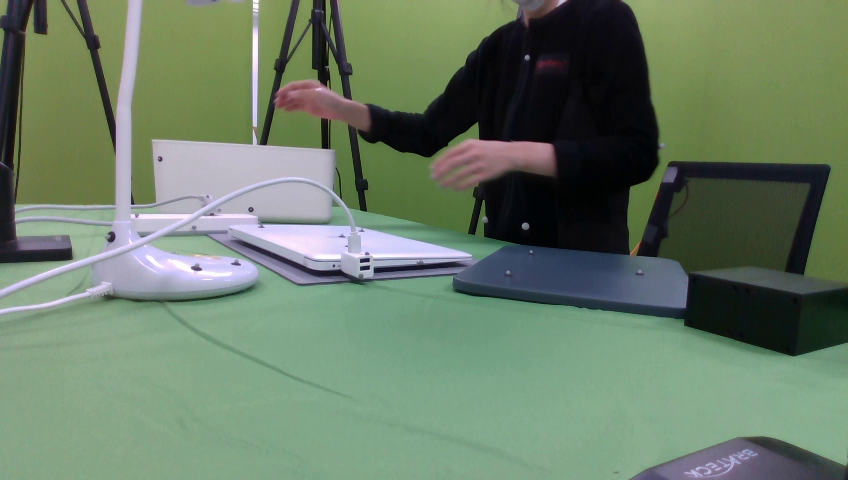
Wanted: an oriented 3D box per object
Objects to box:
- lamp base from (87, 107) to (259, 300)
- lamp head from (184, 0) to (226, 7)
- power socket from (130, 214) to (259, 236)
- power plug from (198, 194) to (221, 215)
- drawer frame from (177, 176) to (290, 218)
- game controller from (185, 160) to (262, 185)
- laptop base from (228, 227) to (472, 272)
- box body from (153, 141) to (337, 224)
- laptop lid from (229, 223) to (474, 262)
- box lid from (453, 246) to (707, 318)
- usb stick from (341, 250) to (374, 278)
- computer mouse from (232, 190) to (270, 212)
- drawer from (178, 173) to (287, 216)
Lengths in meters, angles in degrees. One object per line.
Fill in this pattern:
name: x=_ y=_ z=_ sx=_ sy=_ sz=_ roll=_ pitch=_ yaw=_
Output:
lamp base: x=-0.254 y=-0.039 z=0.603 sx=0.160 sy=0.180 sz=0.179 roll=5 pitch=10 yaw=18
lamp head: x=-0.229 y=-0.320 z=0.627 sx=0.112 sy=0.112 sz=0.123 roll=6 pitch=-36 yaw=26
power socket: x=-0.397 y=-0.028 z=1.048 sx=0.228 sy=0.032 sz=0.072 roll=-3 pitch=7 yaw=-35
power plug: x=-0.386 y=-0.055 z=1.088 sx=0.035 sy=0.052 sz=0.072 roll=-1 pitch=7 yaw=-24
drawer frame: x=-0.410 y=-0.099 z=1.338 sx=0.214 sy=0.082 sz=0.201 roll=-4 pitch=6 yaw=-11
game controller: x=-0.441 y=-0.147 z=1.320 sx=0.156 sy=0.051 sz=0.096 roll=-2 pitch=5 yaw=-36
laptop base: x=-0.124 y=0.011 z=0.889 sx=0.237 sy=0.023 sz=0.352 roll=2 pitch=6 yaw=-35
box body: x=-0.380 y=-0.130 z=1.344 sx=0.365 sy=0.160 sz=0.253 roll=1 pitch=7 yaw=-9
laptop lid: x=-0.121 y=0.000 z=0.888 sx=0.243 sy=0.013 sz=0.355 roll=1 pitch=7 yaw=-33
box lid: x=0.203 y=0.044 z=0.780 sx=0.262 sy=0.015 sz=0.372 roll=5 pitch=7 yaw=17
usb stick: x=-0.079 y=0.026 z=0.686 sx=0.021 sy=0.027 sz=0.059 roll=-8 pitch=8 yaw=-30
computer mouse: x=-0.382 y=-0.087 z=1.343 sx=0.063 sy=0.041 sz=0.117 roll=9 pitch=11 yaw=-4
drawer: x=-0.414 y=-0.106 z=1.341 sx=0.212 sy=0.073 sz=0.194 roll=6 pitch=6 yaw=-12
